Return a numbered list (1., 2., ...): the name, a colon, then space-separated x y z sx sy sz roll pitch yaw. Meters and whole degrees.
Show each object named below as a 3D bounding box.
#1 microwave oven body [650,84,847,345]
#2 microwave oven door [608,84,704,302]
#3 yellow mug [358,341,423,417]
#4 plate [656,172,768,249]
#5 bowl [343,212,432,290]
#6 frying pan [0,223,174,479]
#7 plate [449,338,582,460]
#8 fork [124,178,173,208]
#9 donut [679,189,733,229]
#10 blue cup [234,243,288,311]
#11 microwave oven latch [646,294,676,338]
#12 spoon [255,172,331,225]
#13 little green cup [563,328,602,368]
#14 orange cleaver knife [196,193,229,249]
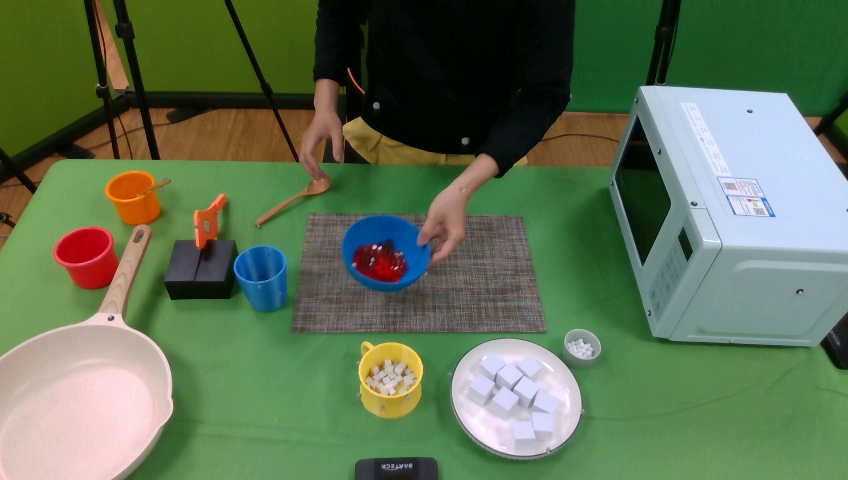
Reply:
1. microwave oven body: 0.569 -0.054 1.115 0.326 0.261 0.439 2 46 -1
2. microwave oven door: 0.424 -0.096 1.138 0.039 0.245 0.353 2 47 -1
3. yellow mug: -0.062 0.209 0.961 0.100 0.064 0.130 -29 54 -27
4. plate: 0.557 -0.054 1.186 0.209 0.038 0.208 1 44 -1
5. bowl: -0.066 0.033 1.043 0.151 0.077 0.150 7 51 -8
6. frying pan: -0.504 0.169 0.941 0.307 0.103 0.485 5 54 -1
7. plate: 0.141 0.251 0.955 0.208 0.039 0.206 2 47 -2
8. fork: -0.525 -0.090 1.153 0.207 0.019 0.028 -17 27 45
9. donut: 0.545 -0.062 1.175 0.099 0.048 0.098 1 43 -1
10. blue cup: -0.276 0.072 1.052 0.093 0.101 0.092 1 48 -1
11. microwave oven latch: 0.412 0.133 1.060 0.030 0.029 0.078 3 46 0
12. spoon: -0.272 -0.087 1.257 0.041 0.022 0.193 43 57 16
13. little green cup: 0.265 0.184 1.025 0.061 0.039 0.061 2 46 -2
14. orange cleaver knife: -0.405 -0.041 1.163 0.012 0.077 0.210 0 18 -3
